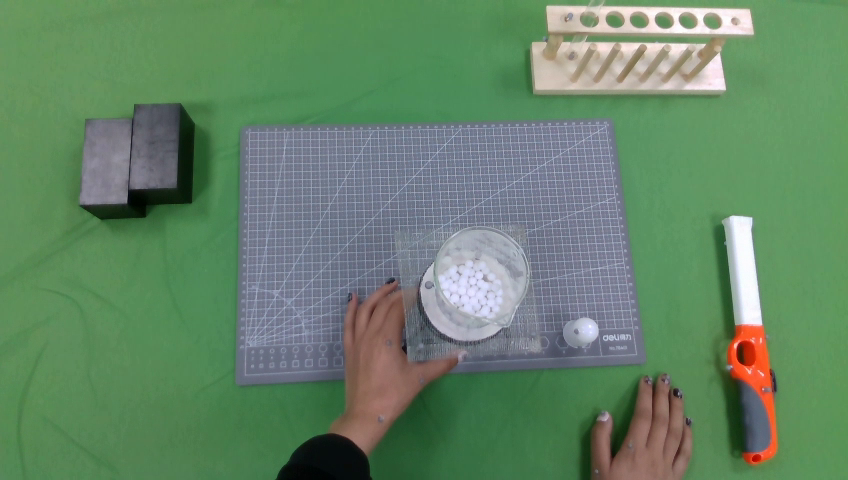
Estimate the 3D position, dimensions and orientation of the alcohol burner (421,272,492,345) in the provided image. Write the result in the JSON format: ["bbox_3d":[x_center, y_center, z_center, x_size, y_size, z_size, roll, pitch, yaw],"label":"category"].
[{"bbox_3d":[0.035,0.068,0.625,0.078,0.119,0.077,1,74,-4],"label":"alcohol burner"}]

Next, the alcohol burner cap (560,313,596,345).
[{"bbox_3d":[0.172,0.097,0.664,0.034,0.048,0.033,1,74,-2],"label":"alcohol burner cap"}]

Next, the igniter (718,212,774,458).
[{"bbox_3d":[0.363,0.102,0.686,0.057,0.025,0.275,4,76,-13],"label":"igniter"}]

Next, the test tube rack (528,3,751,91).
[{"bbox_3d":[0.255,-0.230,0.731,0.242,0.085,0.066,-1,76,-4],"label":"test tube rack"}]

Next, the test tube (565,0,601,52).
[{"bbox_3d":[0.186,-0.261,0.682,0.017,0.151,0.017,1,71,-3],"label":"test tube"}]

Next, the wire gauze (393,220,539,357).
[{"bbox_3d":[0.037,0.043,0.553,0.125,0.011,0.120,-4,74,-2],"label":"wire gauze"}]

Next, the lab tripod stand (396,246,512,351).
[{"bbox_3d":[0.031,0.062,0.616,0.148,0.132,0.147,1,75,-2],"label":"lab tripod stand"}]

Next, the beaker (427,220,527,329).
[{"bbox_3d":[0.041,0.037,0.505,0.074,0.100,0.083,-25,78,-8],"label":"beaker"}]
